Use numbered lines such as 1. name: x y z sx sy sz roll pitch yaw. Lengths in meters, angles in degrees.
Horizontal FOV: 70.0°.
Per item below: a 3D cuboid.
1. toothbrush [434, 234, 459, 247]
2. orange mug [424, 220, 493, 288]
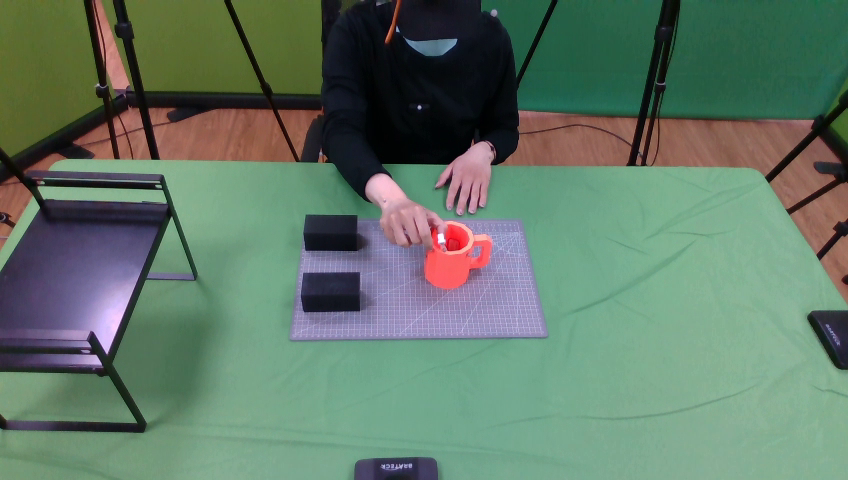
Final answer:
1. toothbrush: 0.042 0.003 1.069 0.016 0.182 0.014 37 96 11
2. orange mug: 0.063 0.023 1.119 0.126 0.101 0.083 -9 47 -7
